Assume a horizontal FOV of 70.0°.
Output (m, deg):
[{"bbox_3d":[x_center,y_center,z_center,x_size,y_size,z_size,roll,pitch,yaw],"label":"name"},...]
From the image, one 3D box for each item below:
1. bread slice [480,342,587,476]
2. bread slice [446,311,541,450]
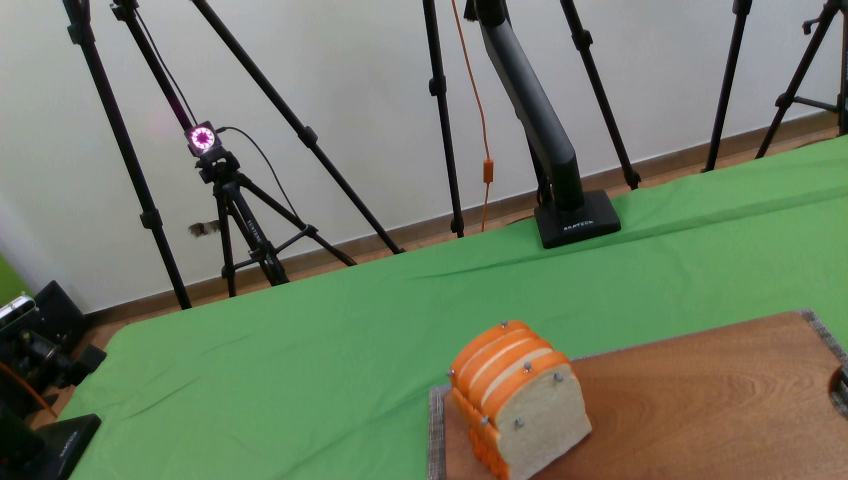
[{"bbox_3d":[0.102,0.156,0.561,0.105,0.133,0.019,-32,39,-14],"label":"bread slice"},{"bbox_3d":[0.080,0.136,0.602,0.107,0.135,0.018,-28,29,-16],"label":"bread slice"}]
